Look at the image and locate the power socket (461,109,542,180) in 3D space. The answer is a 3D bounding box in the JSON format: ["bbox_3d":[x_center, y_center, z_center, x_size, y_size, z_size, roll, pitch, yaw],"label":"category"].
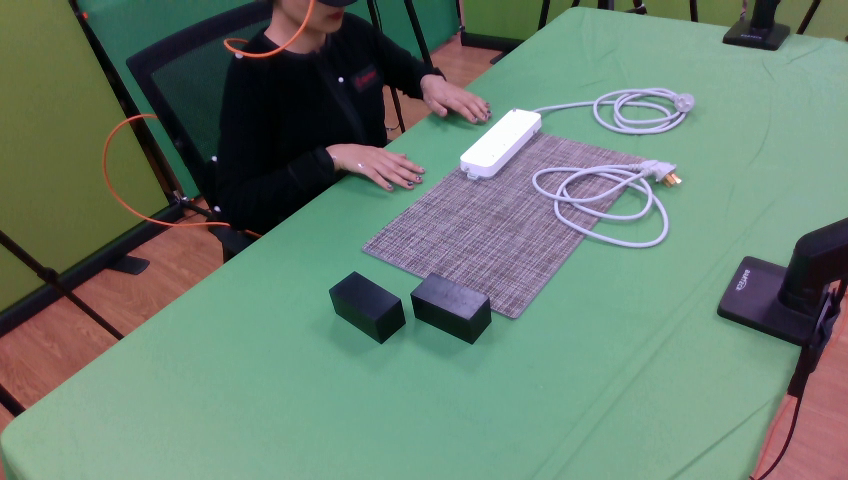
[{"bbox_3d":[0.151,-0.189,1.163,0.071,0.033,0.227,21,48,30],"label":"power socket"}]

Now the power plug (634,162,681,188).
[{"bbox_3d":[0.396,-0.102,1.026,0.072,0.035,0.052,-35,68,-5],"label":"power plug"}]
